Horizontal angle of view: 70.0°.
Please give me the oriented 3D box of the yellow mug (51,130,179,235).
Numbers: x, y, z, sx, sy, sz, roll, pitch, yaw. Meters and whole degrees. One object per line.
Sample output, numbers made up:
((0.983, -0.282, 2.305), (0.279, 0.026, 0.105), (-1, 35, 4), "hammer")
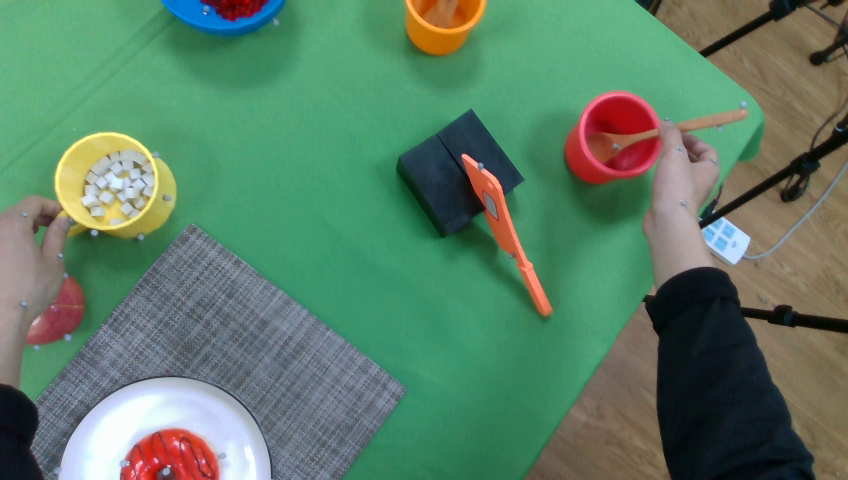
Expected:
((-0.329, -0.048, 0.632), (0.131, 0.064, 0.100), (-41, 90, -9), "yellow mug")

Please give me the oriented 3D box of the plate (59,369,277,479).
((-0.257, 0.236, 0.623), (0.209, 0.038, 0.208), (1, 84, -7), "plate")

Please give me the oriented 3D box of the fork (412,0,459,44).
((0.058, -0.299, 0.665), (0.028, 0.018, 0.207), (49, 124, 3), "fork")

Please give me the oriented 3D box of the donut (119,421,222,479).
((-0.254, 0.233, 0.612), (0.099, 0.048, 0.099), (1, 86, -8), "donut")

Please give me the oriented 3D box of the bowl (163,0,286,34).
((-0.214, -0.288, 0.665), (0.152, 0.077, 0.151), (1, 85, -7), "bowl")

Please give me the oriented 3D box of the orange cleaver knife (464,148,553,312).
((0.094, -0.007, 0.671), (0.012, 0.076, 0.213), (-33, 120, -8), "orange cleaver knife")

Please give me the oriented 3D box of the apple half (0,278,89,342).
((-0.387, 0.074, 0.609), (0.081, 0.074, 0.053), (19, 86, -8), "apple half")

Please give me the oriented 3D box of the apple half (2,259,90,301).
((-0.375, 0.037, 0.614), (0.081, 0.081, 0.033), (18, 88, -5), "apple half")

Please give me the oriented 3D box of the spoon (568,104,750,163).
((0.256, -0.122, 0.676), (0.193, 0.022, 0.041), (-10, 79, 36), "spoon")
